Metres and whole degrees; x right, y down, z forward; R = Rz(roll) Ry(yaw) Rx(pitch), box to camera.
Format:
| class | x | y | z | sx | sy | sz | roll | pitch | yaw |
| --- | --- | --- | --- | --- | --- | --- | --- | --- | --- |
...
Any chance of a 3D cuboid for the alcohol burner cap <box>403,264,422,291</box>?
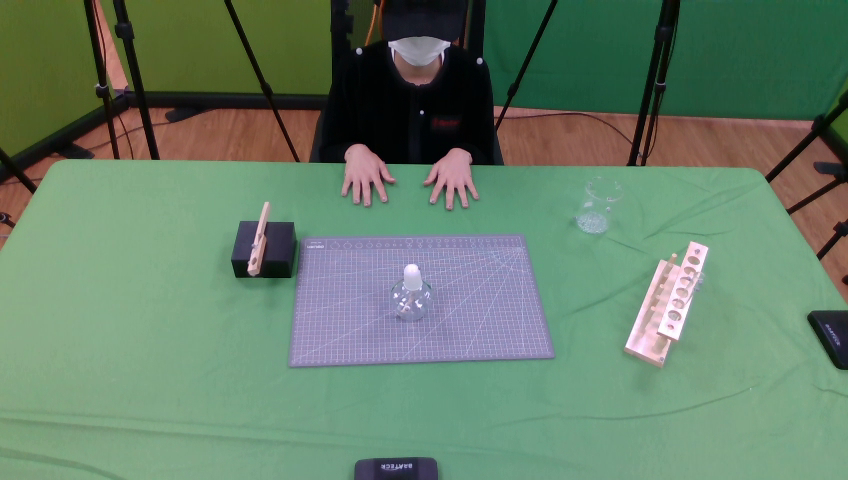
| class | x | y | z | sx | sy | sz | roll | pitch | yaw |
| --- | --- | --- | --- | --- | --- | --- | --- | --- | --- |
| alcohol burner cap | -0.021 | 0.060 | 1.021 | 0.034 | 0.048 | 0.033 | -2 | 46 | 2 |

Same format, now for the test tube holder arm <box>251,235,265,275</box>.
| class | x | y | z | sx | sy | sz | roll | pitch | yaw |
| --- | --- | --- | --- | --- | --- | --- | --- | --- | --- |
| test tube holder arm | -0.297 | 0.025 | 1.085 | 0.010 | 0.015 | 0.087 | -5 | 46 | 2 |

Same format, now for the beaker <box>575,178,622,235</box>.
| class | x | y | z | sx | sy | sz | roll | pitch | yaw |
| --- | --- | --- | --- | --- | --- | --- | --- | --- | --- |
| beaker | 0.356 | -0.068 | 1.240 | 0.084 | 0.101 | 0.073 | -18 | 50 | -21 |

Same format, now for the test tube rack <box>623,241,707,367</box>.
| class | x | y | z | sx | sy | sz | roll | pitch | yaw |
| --- | --- | --- | --- | --- | --- | --- | --- | --- | --- |
| test tube rack | 0.435 | 0.104 | 1.089 | 0.066 | 0.085 | 0.242 | 24 | 49 | 19 |

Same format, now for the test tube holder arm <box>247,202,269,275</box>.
| class | x | y | z | sx | sy | sz | roll | pitch | yaw |
| --- | --- | --- | --- | --- | --- | --- | --- | --- | --- |
| test tube holder arm | -0.304 | -0.006 | 1.116 | 0.013 | 0.015 | 0.177 | -5 | 46 | 1 |

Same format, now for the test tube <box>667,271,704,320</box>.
| class | x | y | z | sx | sy | sz | roll | pitch | yaw |
| --- | --- | --- | --- | --- | --- | --- | --- | --- | --- |
| test tube | 0.432 | 0.104 | 1.019 | 0.017 | 0.151 | 0.017 | 3 | 48 | -3 |

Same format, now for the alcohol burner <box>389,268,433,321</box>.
| class | x | y | z | sx | sy | sz | roll | pitch | yaw |
| --- | --- | --- | --- | --- | --- | --- | --- | --- | --- |
| alcohol burner | -0.022 | 0.085 | 1.047 | 0.078 | 0.119 | 0.077 | 2 | 48 | -2 |
